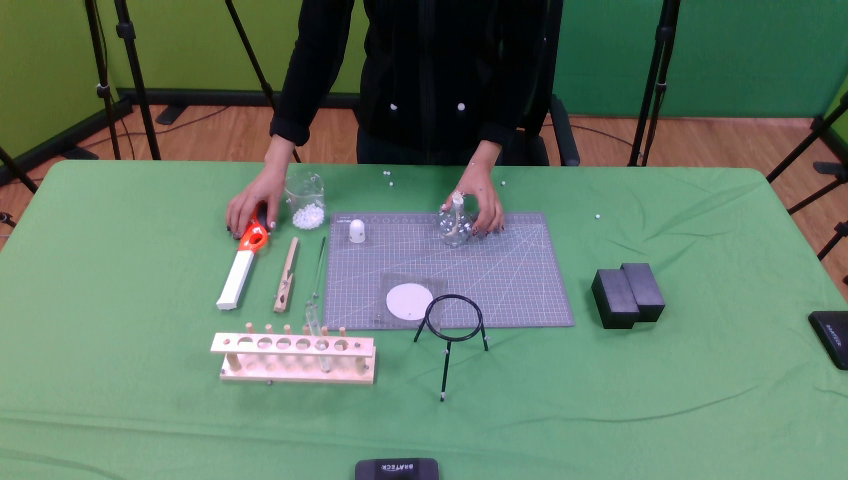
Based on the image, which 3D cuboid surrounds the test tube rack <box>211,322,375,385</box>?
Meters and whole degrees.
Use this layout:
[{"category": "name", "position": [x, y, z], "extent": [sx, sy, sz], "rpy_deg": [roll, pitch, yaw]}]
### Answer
[{"category": "test tube rack", "position": [-0.203, 0.176, 0.969], "extent": [0.242, 0.085, 0.066], "rpy_deg": [3, 46, -2]}]

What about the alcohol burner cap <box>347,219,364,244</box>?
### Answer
[{"category": "alcohol burner cap", "position": [-0.135, -0.019, 1.190], "extent": [0.034, 0.048, 0.033], "rpy_deg": [2, 46, -2]}]

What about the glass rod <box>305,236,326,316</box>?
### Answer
[{"category": "glass rod", "position": [-0.202, 0.063, 1.131], "extent": [0.008, 0.008, 0.198], "rpy_deg": [4, 44, 0]}]

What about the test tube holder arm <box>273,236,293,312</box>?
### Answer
[{"category": "test tube holder arm", "position": [-0.260, 0.058, 1.122], "extent": [0.013, 0.015, 0.177], "rpy_deg": [29, 39, -29]}]

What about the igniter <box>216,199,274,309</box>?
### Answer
[{"category": "igniter", "position": [-0.336, 0.017, 1.153], "extent": [0.057, 0.025, 0.275], "rpy_deg": [-2, 45, 9]}]

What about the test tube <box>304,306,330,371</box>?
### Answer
[{"category": "test tube", "position": [-0.162, 0.153, 0.925], "extent": [0.017, 0.151, 0.017], "rpy_deg": [-2, 44, 2]}]

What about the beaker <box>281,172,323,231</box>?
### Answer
[{"category": "beaker", "position": [-0.235, -0.073, 1.198], "extent": [0.084, 0.101, 0.074], "rpy_deg": [24, 49, 17]}]

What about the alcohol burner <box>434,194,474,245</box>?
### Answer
[{"category": "alcohol burner", "position": [0.061, -0.046, 1.182], "extent": [0.078, 0.119, 0.077], "rpy_deg": [4, 46, -4]}]

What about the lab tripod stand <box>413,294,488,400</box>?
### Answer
[{"category": "lab tripod stand", "position": [0.044, 0.159, 0.972], "extent": [0.148, 0.132, 0.147], "rpy_deg": [2, 44, -2]}]

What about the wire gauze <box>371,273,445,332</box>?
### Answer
[{"category": "wire gauze", "position": [-0.028, 0.108, 1.100], "extent": [0.125, 0.011, 0.121], "rpy_deg": [7, 45, 4]}]

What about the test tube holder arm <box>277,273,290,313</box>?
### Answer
[{"category": "test tube holder arm", "position": [-0.254, 0.093, 1.094], "extent": [0.010, 0.015, 0.087], "rpy_deg": [30, 38, -27]}]
